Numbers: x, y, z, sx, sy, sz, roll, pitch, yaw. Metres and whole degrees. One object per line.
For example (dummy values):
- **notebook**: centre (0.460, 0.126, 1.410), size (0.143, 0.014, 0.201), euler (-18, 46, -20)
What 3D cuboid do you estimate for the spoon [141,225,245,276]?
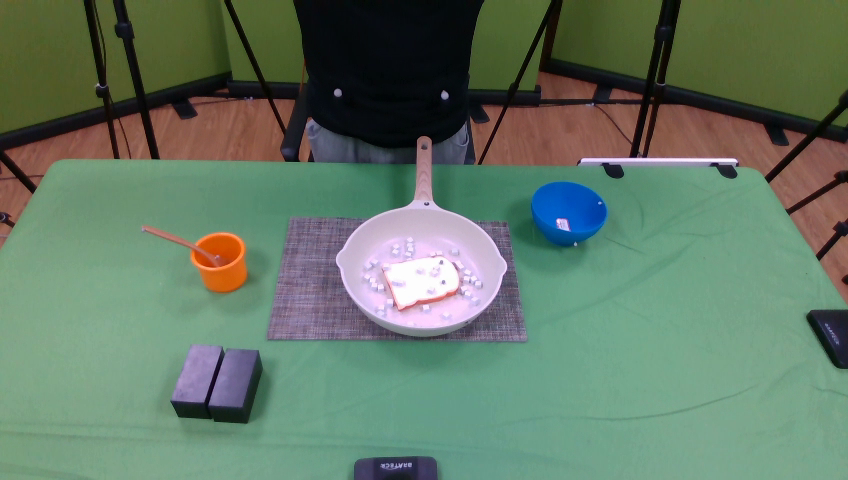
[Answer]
- **spoon**: centre (-0.402, 0.017, 1.063), size (0.021, 0.195, 0.041), euler (-37, 40, 21)

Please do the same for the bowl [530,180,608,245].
- **bowl**: centre (0.284, -0.044, 1.222), size (0.151, 0.077, 0.150), euler (2, 46, -2)

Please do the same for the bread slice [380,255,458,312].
- **bread slice**: centre (-0.005, 0.074, 1.119), size (0.134, 0.018, 0.106), euler (-16, 50, -16)

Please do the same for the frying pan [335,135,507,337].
- **frying pan**: centre (-0.004, -0.026, 1.160), size (0.307, 0.103, 0.485), euler (4, 55, -2)
